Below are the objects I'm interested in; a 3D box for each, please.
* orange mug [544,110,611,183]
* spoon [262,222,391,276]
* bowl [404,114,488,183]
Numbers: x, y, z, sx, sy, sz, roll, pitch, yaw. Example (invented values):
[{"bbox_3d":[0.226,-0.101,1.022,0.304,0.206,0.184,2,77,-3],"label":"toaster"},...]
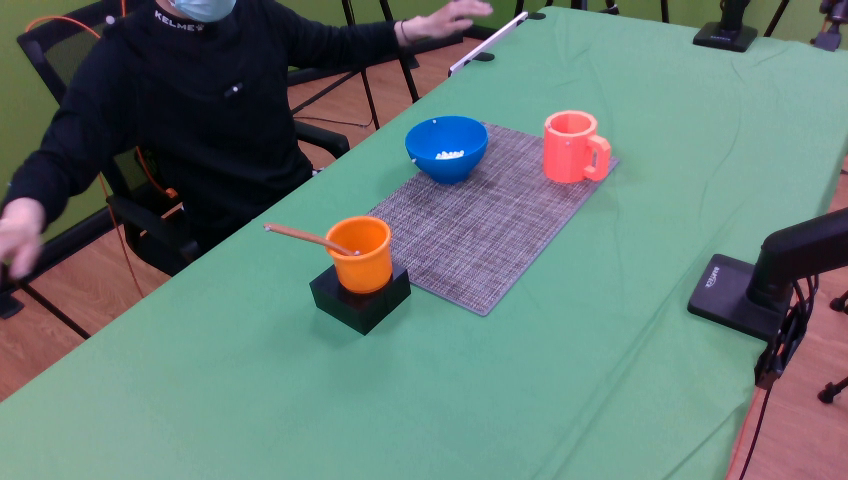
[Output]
[{"bbox_3d":[0.266,-0.157,1.049,0.084,0.101,0.125,-33,42,-26],"label":"orange mug"},{"bbox_3d":[-0.124,0.010,0.800,0.021,0.195,0.041,-45,40,24],"label":"spoon"},{"bbox_3d":[0.043,-0.156,1.095,0.151,0.077,0.150,-4,41,4],"label":"bowl"}]
